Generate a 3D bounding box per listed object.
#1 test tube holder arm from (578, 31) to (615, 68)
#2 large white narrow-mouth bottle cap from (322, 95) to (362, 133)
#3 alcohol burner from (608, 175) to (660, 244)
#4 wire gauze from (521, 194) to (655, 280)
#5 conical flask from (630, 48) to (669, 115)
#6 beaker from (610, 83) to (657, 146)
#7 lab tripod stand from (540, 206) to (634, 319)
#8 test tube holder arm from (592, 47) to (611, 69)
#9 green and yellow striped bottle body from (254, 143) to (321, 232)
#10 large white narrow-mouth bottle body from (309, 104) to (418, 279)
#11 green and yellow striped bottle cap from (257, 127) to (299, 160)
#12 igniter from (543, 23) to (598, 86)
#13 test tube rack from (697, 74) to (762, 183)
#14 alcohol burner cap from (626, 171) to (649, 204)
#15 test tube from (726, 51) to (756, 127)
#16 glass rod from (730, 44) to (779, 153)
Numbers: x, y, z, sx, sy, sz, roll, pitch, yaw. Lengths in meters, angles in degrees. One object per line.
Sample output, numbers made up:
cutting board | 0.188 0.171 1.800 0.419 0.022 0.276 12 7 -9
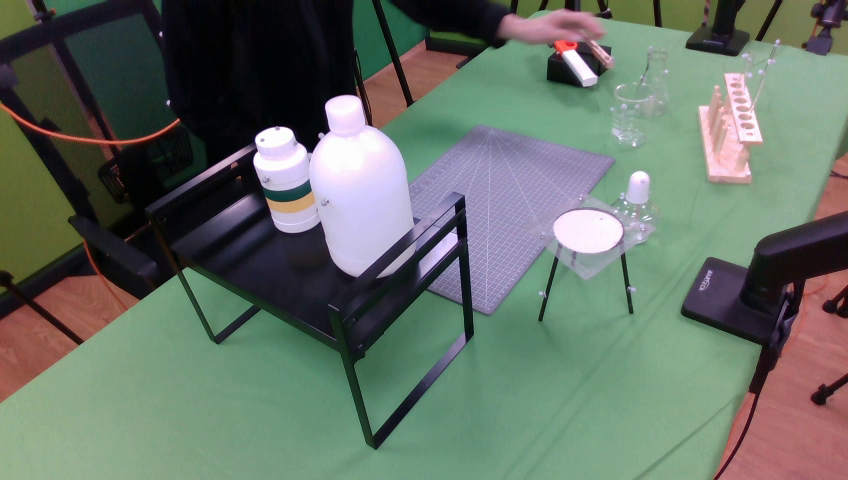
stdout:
test tube holder arm | 0.383 -0.428 1.351 0.013 0.015 0.177 -11 41 -4
large white narrow-mouth bottle cap | -0.080 -0.123 0.589 0.038 0.024 0.037 -5 40 5
alcohol burner | 0.322 -0.053 0.924 0.078 0.119 0.077 -4 43 4
wire gauze | 0.207 -0.012 0.772 0.122 0.011 0.124 -28 44 -20
conical flask | 0.457 -0.317 1.205 0.075 0.122 0.075 -4 41 4
beaker | 0.388 -0.235 1.138 0.074 0.101 0.083 -31 45 -25
lab tripod stand | 0.217 0.034 0.821 0.148 0.132 0.147 -4 42 4
test tube holder arm | 0.385 -0.398 1.317 0.010 0.015 0.087 -10 41 -2
green and yellow striped bottle body | -0.165 -0.073 0.732 0.063 0.120 0.063 -4 41 4
large white narrow-mouth bottle body | -0.068 -0.057 0.644 0.102 0.195 0.101 -6 40 5
green and yellow striped bottle cap | -0.169 -0.112 0.699 0.045 0.020 0.045 -5 40 5
igniter | 0.320 -0.419 1.345 0.057 0.025 0.274 -12 44 -3
test tube rack | 0.547 -0.208 1.095 0.066 0.085 0.242 5 42 15
alcohol burner cap | 0.320 -0.081 0.900 0.034 0.048 0.033 -4 42 4
test tube | 0.567 -0.268 1.086 0.017 0.151 0.017 -4 45 5
glass rod | 0.555 -0.234 1.021 0.008 0.200 0.008 2 40 -1
